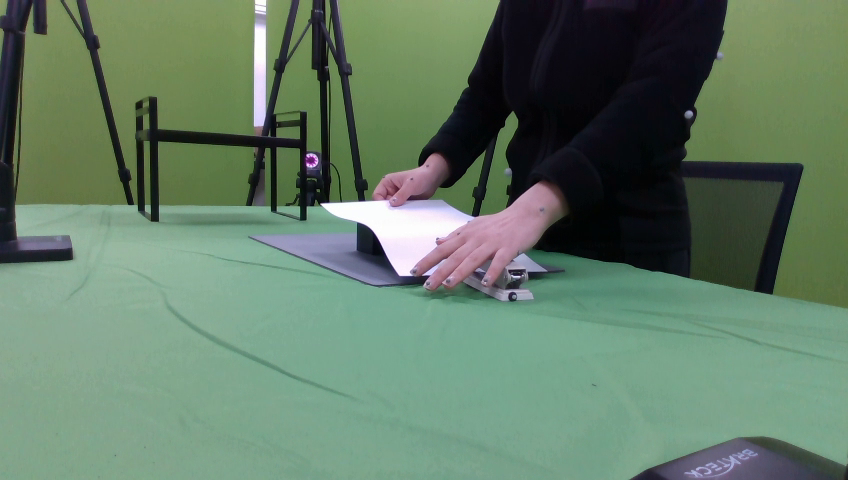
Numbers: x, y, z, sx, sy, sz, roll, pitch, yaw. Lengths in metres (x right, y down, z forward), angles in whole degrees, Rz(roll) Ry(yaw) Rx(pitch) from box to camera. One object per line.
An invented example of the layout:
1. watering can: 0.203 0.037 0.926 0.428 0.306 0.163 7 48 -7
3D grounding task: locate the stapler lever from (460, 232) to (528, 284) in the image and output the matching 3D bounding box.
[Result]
1. stapler lever: 0.076 0.019 0.681 0.027 0.040 0.117 -3 12 -23

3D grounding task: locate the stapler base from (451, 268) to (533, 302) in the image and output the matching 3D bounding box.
1. stapler base: 0.074 0.043 0.686 0.041 0.024 0.130 -3 12 -23
